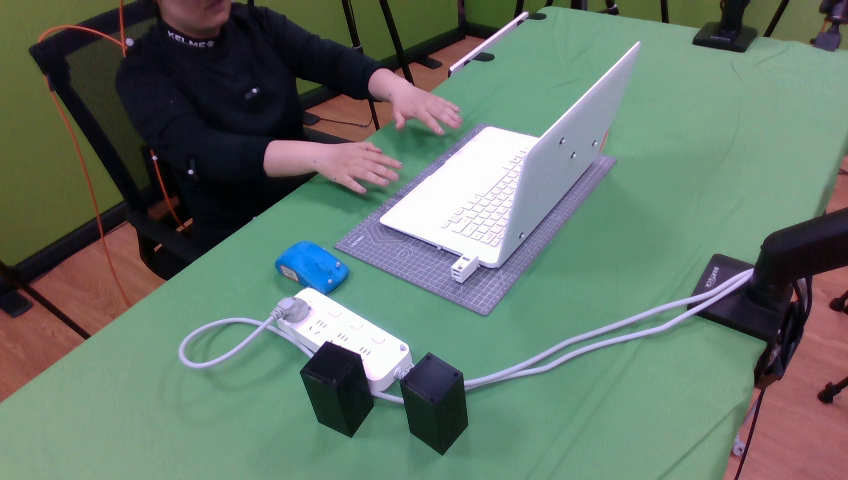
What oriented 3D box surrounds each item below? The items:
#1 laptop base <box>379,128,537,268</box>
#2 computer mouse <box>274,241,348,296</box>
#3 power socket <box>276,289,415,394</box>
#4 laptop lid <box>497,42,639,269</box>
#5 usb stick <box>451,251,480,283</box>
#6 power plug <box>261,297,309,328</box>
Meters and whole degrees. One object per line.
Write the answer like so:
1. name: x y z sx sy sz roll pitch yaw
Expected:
1. laptop base: 0.118 -0.088 1.058 0.233 0.023 0.355 19 47 32
2. computer mouse: -0.175 0.040 0.936 0.116 0.041 0.063 27 48 27
3. power socket: -0.114 0.133 0.820 0.225 0.033 0.072 25 49 33
4. laptop lid: 0.221 -0.130 0.912 0.013 0.242 0.357 31 51 21
5. usb stick: 0.066 0.036 0.899 0.021 0.027 0.059 23 45 32
6. power plug: -0.192 0.107 0.831 0.073 0.053 0.035 -32 43 -25
